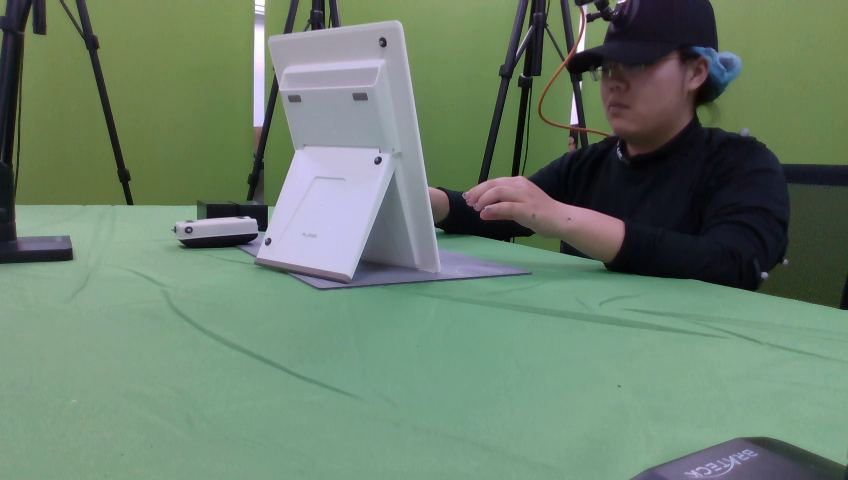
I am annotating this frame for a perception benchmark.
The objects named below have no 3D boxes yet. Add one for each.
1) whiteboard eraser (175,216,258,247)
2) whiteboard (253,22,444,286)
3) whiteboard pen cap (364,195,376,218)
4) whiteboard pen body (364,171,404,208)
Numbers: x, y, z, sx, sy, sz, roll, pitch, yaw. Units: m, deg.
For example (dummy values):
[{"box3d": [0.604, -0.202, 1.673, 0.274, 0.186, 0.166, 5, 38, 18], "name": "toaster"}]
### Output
[{"box3d": [-0.313, -0.012, 0.914, 0.113, 0.042, 0.055, -5, 12, -30], "name": "whiteboard eraser"}, {"box3d": [-0.125, -0.081, 0.714, 0.216, 0.305, 0.144, 9, 29, 36], "name": "whiteboard"}, {"box3d": [-0.084, -0.051, 0.927, 0.018, 0.033, 0.018, 6, -17, 2], "name": "whiteboard pen cap"}, {"box3d": [-0.065, -0.081, 0.979, 0.017, 0.017, 0.141, 6, 29, 21], "name": "whiteboard pen body"}]
